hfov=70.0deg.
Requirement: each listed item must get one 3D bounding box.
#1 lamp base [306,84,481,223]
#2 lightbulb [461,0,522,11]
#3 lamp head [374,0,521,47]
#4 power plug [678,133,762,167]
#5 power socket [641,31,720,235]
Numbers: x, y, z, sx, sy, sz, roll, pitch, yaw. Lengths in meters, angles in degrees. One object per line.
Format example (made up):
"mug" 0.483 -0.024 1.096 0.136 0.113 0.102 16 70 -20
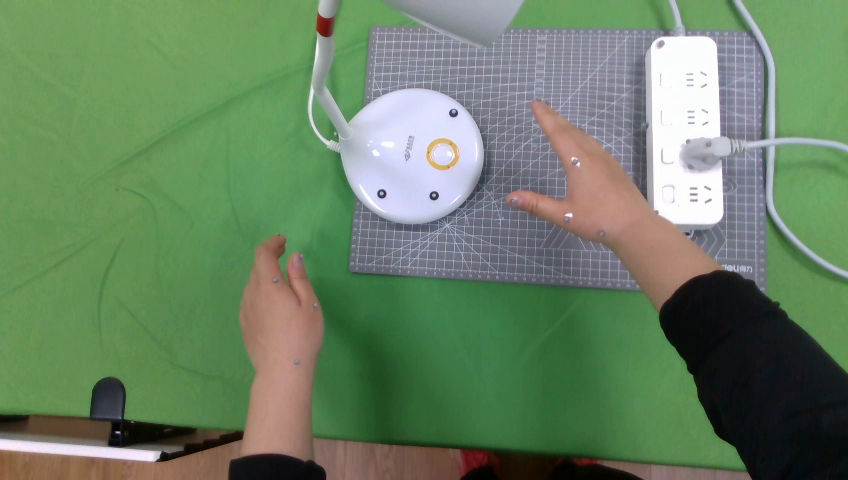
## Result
"lamp base" -0.038 -0.111 0.615 0.179 0.181 0.160 -1 80 9
"lightbulb" 0.015 -0.163 0.322 0.108 0.059 0.059 16 82 -18
"lamp head" -0.009 -0.171 0.320 0.123 0.112 0.112 8 81 -14
"power plug" 0.302 -0.090 0.629 0.072 0.053 0.035 12 83 6
"power socket" 0.276 -0.120 0.656 0.072 0.033 0.226 1 81 6
